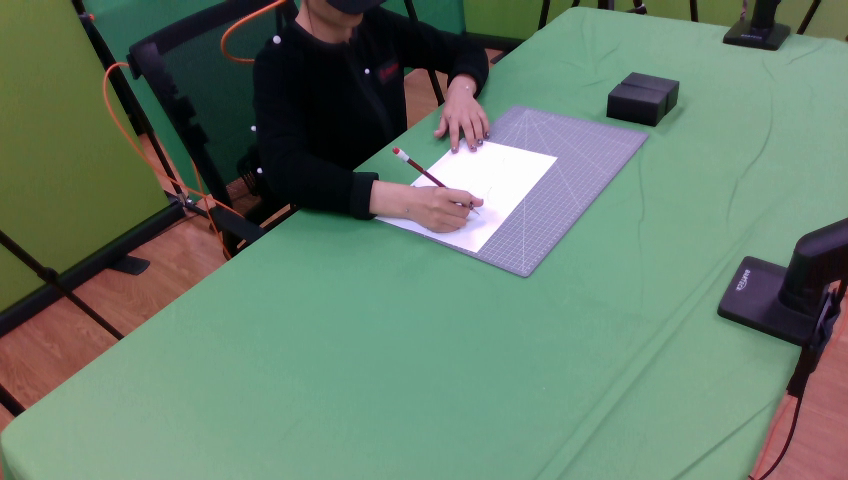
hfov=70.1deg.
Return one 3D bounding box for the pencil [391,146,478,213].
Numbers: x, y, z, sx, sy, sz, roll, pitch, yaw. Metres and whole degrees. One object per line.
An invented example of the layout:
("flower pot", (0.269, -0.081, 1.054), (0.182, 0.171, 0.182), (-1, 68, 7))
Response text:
("pencil", (0.022, -0.094, 0.981), (0.012, 0.195, 0.012), (-37, 33, 30))
